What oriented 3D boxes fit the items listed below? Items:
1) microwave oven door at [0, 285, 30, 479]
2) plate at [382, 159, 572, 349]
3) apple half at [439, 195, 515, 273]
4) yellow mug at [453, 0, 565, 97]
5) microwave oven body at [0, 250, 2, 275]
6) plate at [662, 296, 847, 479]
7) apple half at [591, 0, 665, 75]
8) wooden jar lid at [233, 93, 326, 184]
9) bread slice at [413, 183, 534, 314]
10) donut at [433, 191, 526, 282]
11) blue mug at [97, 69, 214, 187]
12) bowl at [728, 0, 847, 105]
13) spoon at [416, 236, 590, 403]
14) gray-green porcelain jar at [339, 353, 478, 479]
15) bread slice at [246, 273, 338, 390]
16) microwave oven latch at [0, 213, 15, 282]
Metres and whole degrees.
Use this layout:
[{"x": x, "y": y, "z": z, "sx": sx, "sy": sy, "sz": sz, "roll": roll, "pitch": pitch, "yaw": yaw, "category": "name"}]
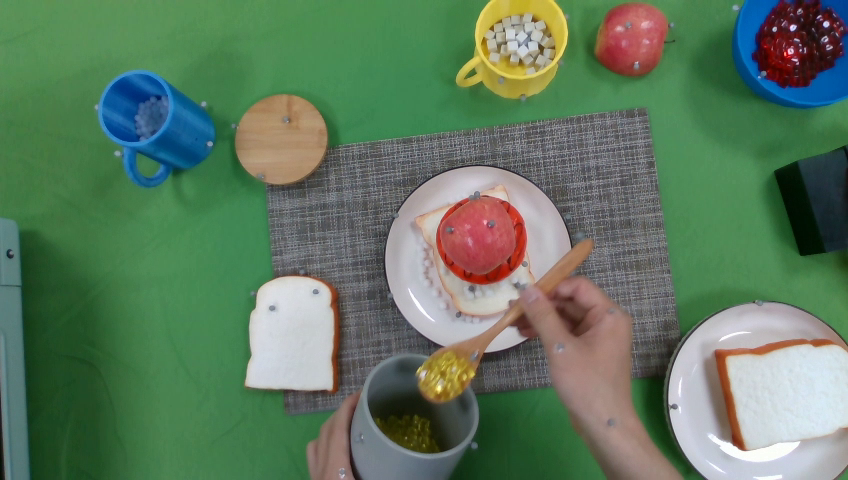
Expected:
[{"x": -0.474, "y": 0.217, "z": 0.573, "sx": 0.039, "sy": 0.244, "sz": 0.355, "roll": -7, "pitch": 84, "yaw": 3, "category": "microwave oven door"}, {"x": 0.058, "y": 0.016, "z": 0.674, "sx": 0.207, "sy": 0.039, "sz": 0.207, "roll": 0, "pitch": 86, "yaw": 4, "category": "plate"}, {"x": 0.054, "y": -0.007, "z": 0.611, "sx": 0.081, "sy": 0.033, "sz": 0.081, "roll": -1, "pitch": 84, "yaw": 11, "category": "apple half"}, {"x": 0.090, "y": -0.212, "z": 0.680, "sx": 0.131, "sy": 0.064, "sz": 0.099, "roll": -31, "pitch": 84, "yaw": 1, "category": "yellow mug"}, {"x": -0.622, "y": 0.192, "z": 0.589, "sx": 0.326, "sy": 0.261, "sz": 0.440, "roll": -7, "pitch": 85, "yaw": 3, "category": "microwave oven body"}, {"x": 0.357, "y": 0.164, "z": 0.647, "sx": 0.209, "sy": 0.038, "sz": 0.208, "roll": 0, "pitch": 85, "yaw": 4, "category": "plate"}, {"x": 0.231, "y": -0.233, "z": 0.680, "sx": 0.074, "sy": 0.053, "sz": 0.080, "roll": 16, "pitch": 86, "yaw": 7, "category": "apple half"}, {"x": -0.167, "y": -0.117, "z": 0.708, "sx": 0.108, "sy": 0.021, "sz": 0.108, "roll": -1, "pitch": 82, "yaw": 5, "category": "wooden jar lid"}, {"x": 0.063, "y": 0.014, "z": 0.676, "sx": 0.107, "sy": 0.018, "sz": 0.134, "roll": -24, "pitch": 82, "yaw": 2, "category": "bread slice"}, {"x": 0.059, "y": -0.003, "z": 0.647, "sx": 0.099, "sy": 0.048, "sz": 0.099, "roll": 0, "pitch": 86, "yaw": 4, "category": "donut"}, {"x": -0.300, "y": -0.116, "z": 0.676, "sx": 0.082, "sy": 0.106, "sz": 0.116, "roll": 14, "pitch": 86, "yaw": 5, "category": "blue mug"}, {"x": 0.395, "y": -0.210, "z": 0.655, "sx": 0.151, "sy": 0.077, "sz": 0.151, "roll": 0, "pitch": 86, "yaw": 4, "category": "bowl"}, {"x": 0.064, "y": 0.067, "z": 0.498, "sx": 0.041, "sy": 0.021, "sz": 0.194, "roll": 46, "pitch": 109, "yaw": 6, "category": "spoon"}, {"x": -0.020, "y": 0.184, "z": 0.562, "sx": 0.105, "sy": 0.105, "sz": 0.127, "roll": 26, "pitch": 128, "yaw": 6, "category": "gray-green porcelain jar"}, {"x": -0.150, "y": 0.104, "z": 0.690, "sx": 0.105, "sy": 0.019, "sz": 0.131, "roll": 1, "pitch": 86, "yaw": 3, "category": "bread slice"}, {"x": -0.488, "y": 0.009, "z": 0.692, "sx": 0.030, "sy": 0.029, "sz": 0.079, "roll": -3, "pitch": 86, "yaw": 3, "category": "microwave oven latch"}]
